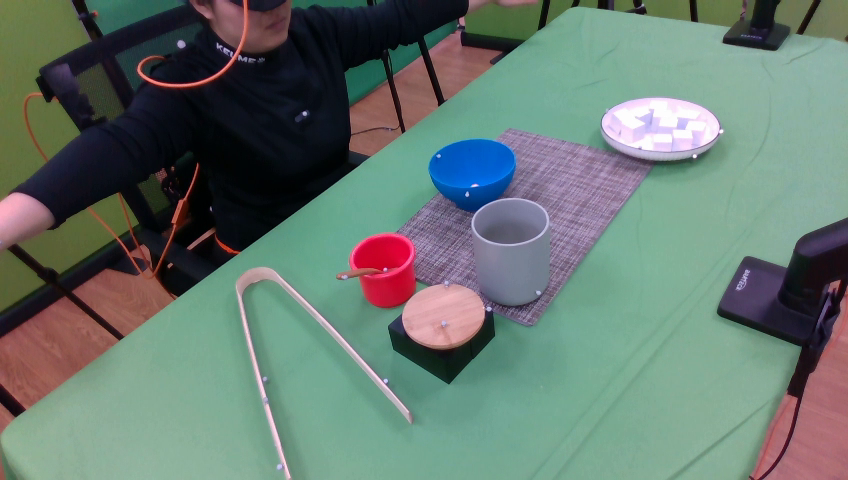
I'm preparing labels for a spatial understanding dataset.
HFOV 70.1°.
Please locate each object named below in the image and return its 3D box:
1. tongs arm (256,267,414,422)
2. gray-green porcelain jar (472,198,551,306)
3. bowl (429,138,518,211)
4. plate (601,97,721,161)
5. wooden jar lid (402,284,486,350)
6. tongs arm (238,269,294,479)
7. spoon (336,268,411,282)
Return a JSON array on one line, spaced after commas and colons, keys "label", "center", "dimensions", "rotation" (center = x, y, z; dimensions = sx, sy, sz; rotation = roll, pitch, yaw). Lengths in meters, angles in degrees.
[{"label": "tongs arm", "center": [-0.137, 0.132, 0.853], "dimensions": [0.028, 0.028, 0.384], "rotation": [-34, 45, -23]}, {"label": "gray-green porcelain jar", "center": [0.125, 0.021, 0.850], "dimensions": [0.106, 0.127, 0.105], "rotation": [-6, 40, 5]}, {"label": "bowl", "center": [0.087, -0.104, 1.043], "dimensions": [0.151, 0.077, 0.150], "rotation": [-5, 40, 5]}, {"label": "plate", "center": [0.436, -0.203, 1.126], "dimensions": [0.209, 0.038, 0.208], "rotation": [-5, 39, 4]}, {"label": "wooden jar lid", "center": [0.026, 0.101, 0.786], "dimensions": [0.108, 0.021, 0.108], "rotation": [-5, 39, 4]}, {"label": "tongs arm", "center": [-0.208, 0.163, 0.824], "dimensions": [0.051, 0.026, 0.381], "rotation": [-22, 40, -15]}, {"label": "spoon", "center": [-0.071, 0.047, 0.850], "dimensions": [0.041, 0.195, 0.021], "rotation": [18, 93, 24]}]
